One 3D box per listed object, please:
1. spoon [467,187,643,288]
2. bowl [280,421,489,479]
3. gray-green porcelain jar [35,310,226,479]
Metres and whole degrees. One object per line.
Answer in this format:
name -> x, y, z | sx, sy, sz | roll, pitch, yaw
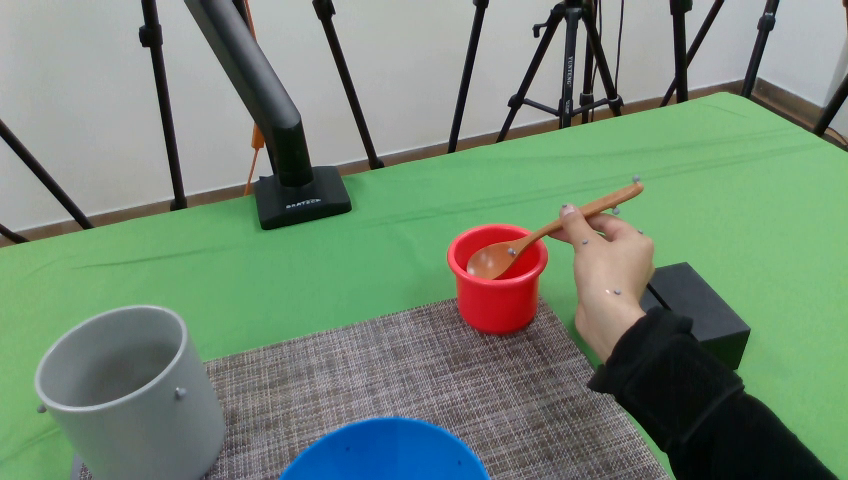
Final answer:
spoon -> 0.116, -0.001, 0.571 | 0.193, 0.022, 0.041 | -32, 44, 38
bowl -> -0.025, 0.205, 0.398 | 0.151, 0.077, 0.150 | -3, 36, 2
gray-green porcelain jar -> -0.219, 0.136, 0.474 | 0.106, 0.127, 0.105 | -3, 36, 2
